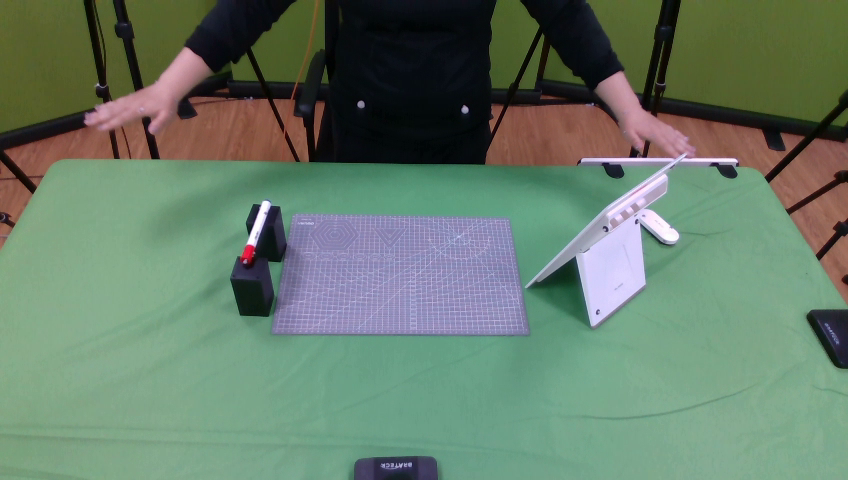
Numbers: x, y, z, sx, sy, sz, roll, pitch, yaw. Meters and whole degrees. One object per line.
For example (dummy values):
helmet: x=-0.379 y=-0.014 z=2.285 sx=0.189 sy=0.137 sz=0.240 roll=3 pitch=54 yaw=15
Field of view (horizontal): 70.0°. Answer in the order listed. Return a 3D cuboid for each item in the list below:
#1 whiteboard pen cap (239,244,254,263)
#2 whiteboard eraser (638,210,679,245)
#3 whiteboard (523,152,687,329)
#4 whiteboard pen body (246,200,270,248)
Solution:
whiteboard pen cap: x=-0.298 y=0.022 z=1.016 sx=0.017 sy=0.017 sz=0.032 roll=6 pitch=45 yaw=2
whiteboard eraser: x=0.485 y=-0.027 z=1.260 sx=0.041 sy=0.019 sz=0.100 roll=-21 pitch=50 yaw=-21
whiteboard: x=0.346 y=0.024 z=1.047 sx=0.217 sy=0.306 sz=0.143 roll=-30 pitch=74 yaw=-29
whiteboard pen body: x=-0.293 y=-0.020 z=1.059 sx=0.017 sy=0.017 sz=0.139 roll=5 pitch=46 yaw=0
